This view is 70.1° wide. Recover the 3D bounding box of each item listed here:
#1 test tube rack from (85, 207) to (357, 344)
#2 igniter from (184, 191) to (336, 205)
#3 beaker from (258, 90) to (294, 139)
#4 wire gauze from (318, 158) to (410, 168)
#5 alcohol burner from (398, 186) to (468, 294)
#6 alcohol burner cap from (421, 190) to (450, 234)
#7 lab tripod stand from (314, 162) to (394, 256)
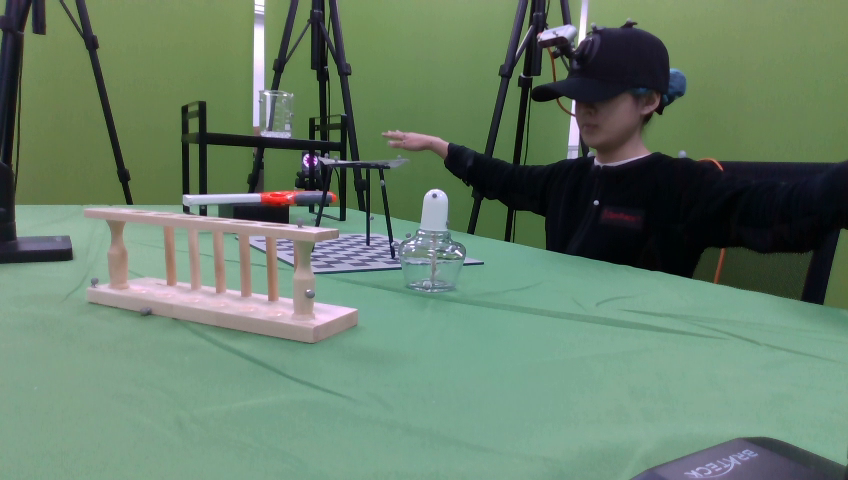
[{"bbox_3d":[-0.177,0.022,0.518,0.241,0.085,0.067,6,7,23],"label":"test tube rack"},{"bbox_3d":[-0.298,-0.078,1.126,0.278,0.025,0.057,-4,13,-32],"label":"igniter"},{"bbox_3d":[-0.324,-0.274,1.331,0.083,0.100,0.074,7,9,24],"label":"beaker"},{"bbox_3d":[-0.090,-0.114,0.888,0.122,0.011,0.124,0,6,-15],"label":"wire gauze"},{"bbox_3d":[0.011,-0.001,0.669,0.078,0.119,0.078,5,8,0],"label":"alcohol burner"},{"bbox_3d":[0.014,-0.031,0.665,0.034,0.048,0.034,5,9,0],"label":"alcohol burner cap"},{"bbox_3d":[-0.098,-0.048,0.897,0.148,0.131,0.148,1,6,0],"label":"lab tripod stand"}]
